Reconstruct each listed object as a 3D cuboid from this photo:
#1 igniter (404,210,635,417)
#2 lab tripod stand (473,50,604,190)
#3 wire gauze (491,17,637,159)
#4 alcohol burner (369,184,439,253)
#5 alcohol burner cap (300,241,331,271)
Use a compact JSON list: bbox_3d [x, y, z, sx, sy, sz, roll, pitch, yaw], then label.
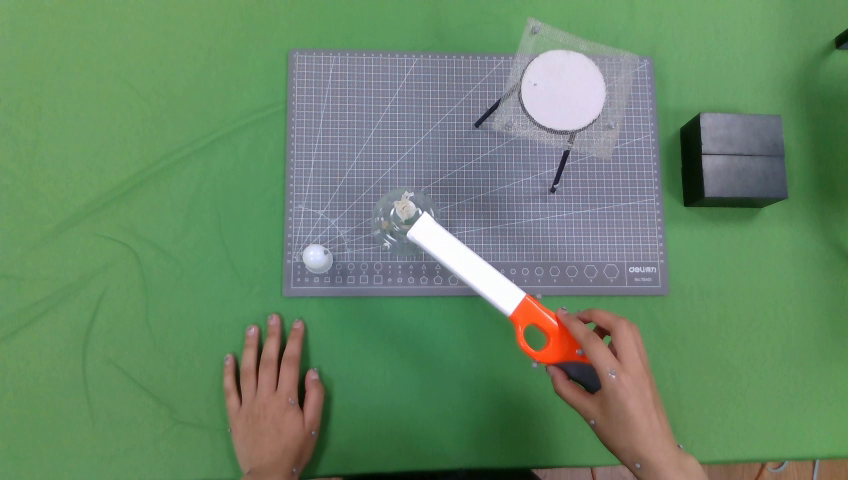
[{"bbox_3d":[0.095,0.070,0.587,0.276,0.025,0.057,40,79,1],"label":"igniter"},{"bbox_3d":[0.136,-0.143,0.671,0.148,0.132,0.147,1,79,-3],"label":"lab tripod stand"},{"bbox_3d":[0.142,-0.151,0.605,0.121,0.011,0.124,19,79,-1],"label":"wire gauze"},{"bbox_3d":[-0.021,-0.026,0.653,0.078,0.119,0.077,0,82,-3],"label":"alcohol burner"},{"bbox_3d":[-0.123,0.016,0.675,0.034,0.048,0.033,1,81,-4],"label":"alcohol burner cap"}]
